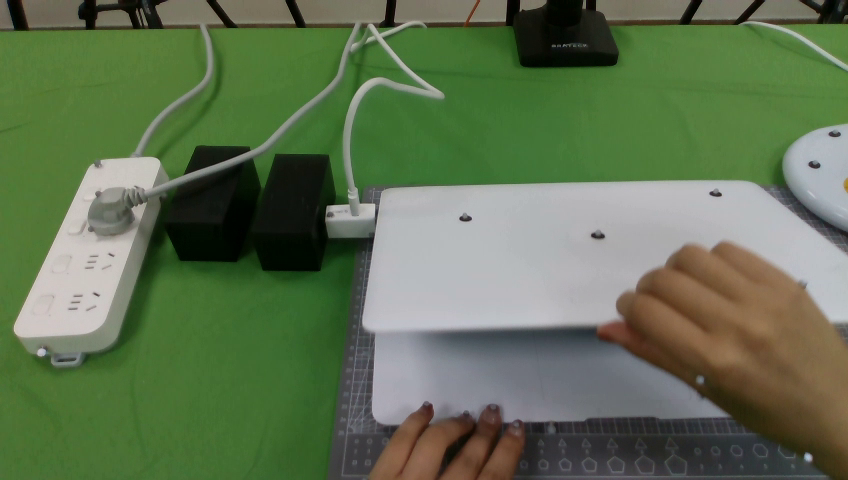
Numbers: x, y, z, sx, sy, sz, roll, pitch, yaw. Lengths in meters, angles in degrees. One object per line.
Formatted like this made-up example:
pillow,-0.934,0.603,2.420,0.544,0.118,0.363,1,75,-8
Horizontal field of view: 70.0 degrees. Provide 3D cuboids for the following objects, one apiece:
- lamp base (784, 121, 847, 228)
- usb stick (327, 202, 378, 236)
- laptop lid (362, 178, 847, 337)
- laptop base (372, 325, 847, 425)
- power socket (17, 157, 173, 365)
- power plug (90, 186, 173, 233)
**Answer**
lamp base,0.439,-0.118,0.533,0.159,0.182,0.179,30,51,26
usb stick,-0.056,-0.019,0.543,0.059,0.027,0.021,1,49,-3
laptop lid,0.136,0.000,0.469,0.357,0.013,0.239,-1,27,1
laptop base,0.138,0.041,0.504,0.354,0.023,0.233,-1,51,0
power socket,-0.280,0.004,0.533,0.072,0.033,0.224,-2,47,-2
power plug,-0.252,-0.020,0.523,0.072,0.053,0.035,6,48,6
